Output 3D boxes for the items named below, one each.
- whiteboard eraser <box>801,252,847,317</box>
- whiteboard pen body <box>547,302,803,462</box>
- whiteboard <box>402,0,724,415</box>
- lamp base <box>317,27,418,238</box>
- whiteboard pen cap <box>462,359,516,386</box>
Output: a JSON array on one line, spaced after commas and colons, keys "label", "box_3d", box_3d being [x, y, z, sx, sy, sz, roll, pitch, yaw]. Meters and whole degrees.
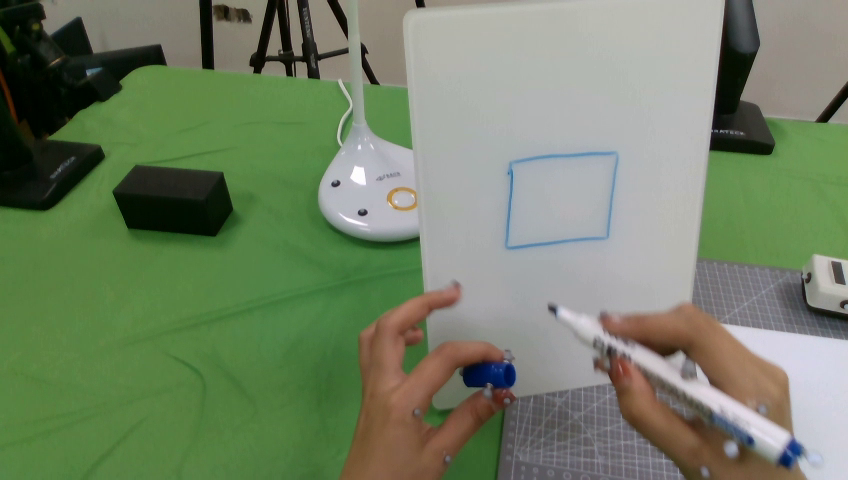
[{"label": "whiteboard eraser", "box_3d": [0.409, 0.049, 0.553, 0.112, 0.042, 0.055, 12, 42, 14]}, {"label": "whiteboard pen body", "box_3d": [0.119, 0.066, 0.313, 0.017, 0.017, 0.139, -31, 44, -30]}, {"label": "whiteboard", "box_3d": [0.094, -0.039, 0.502, 0.217, 0.307, 0.142, -7, 23, -6]}, {"label": "lamp base", "box_3d": [-0.049, -0.121, 0.646, 0.161, 0.182, 0.177, -27, 46, -27]}, {"label": "whiteboard pen cap", "box_3d": [0.042, 0.083, 0.383, 0.033, 0.018, 0.018, -14, 29, 39]}]
